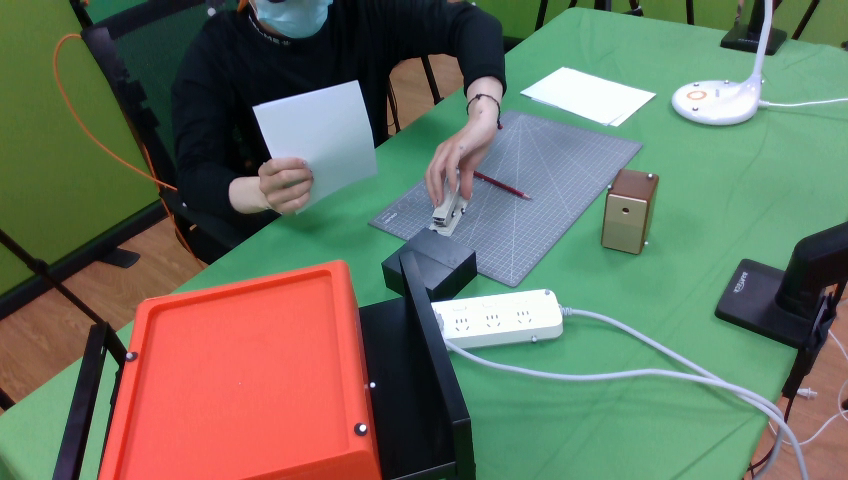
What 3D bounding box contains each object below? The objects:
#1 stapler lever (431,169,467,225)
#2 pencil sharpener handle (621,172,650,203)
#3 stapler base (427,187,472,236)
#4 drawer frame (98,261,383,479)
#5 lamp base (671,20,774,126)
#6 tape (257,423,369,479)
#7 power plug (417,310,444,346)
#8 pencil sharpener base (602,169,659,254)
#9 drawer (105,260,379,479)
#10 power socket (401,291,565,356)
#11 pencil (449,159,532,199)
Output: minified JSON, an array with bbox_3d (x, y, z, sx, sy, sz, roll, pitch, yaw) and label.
[{"bbox_3d":[0.043,-0.075,1.010,0.026,0.040,0.118,10,44,20],"label":"stapler lever"},{"bbox_3d":[0.328,-0.087,0.940,0.036,0.068,0.030,30,49,7],"label":"pencil sharpener handle"},{"bbox_3d":[0.045,-0.057,1.028,0.041,0.024,0.130,10,44,20],"label":"stapler base"},{"bbox_3d":[-0.148,0.129,0.520,0.202,0.083,0.212,-12,41,-6],"label":"drawer frame"},{"bbox_3d":[0.581,-0.332,1.154,0.179,0.181,0.160,2,41,7],"label":"lamp base"},{"bbox_3d":[-0.121,0.262,0.660,0.117,0.053,0.116,-4,40,4],"label":"tape"},{"bbox_3d":[0.006,0.122,0.785,0.035,0.053,0.072,-1,40,8],"label":"power plug"},{"bbox_3d":[0.312,-0.044,0.914,0.061,0.107,0.077,14,45,24],"label":"pencil sharpener base"},{"bbox_3d":[-0.150,0.127,0.525,0.195,0.073,0.210,-11,41,-5],"label":"drawer"},{"bbox_3d":[0.080,0.112,0.822,0.227,0.033,0.072,-6,41,0],"label":"power socket"},{"bbox_3d":[0.117,-0.110,1.091,0.192,0.012,0.012,30,53,34],"label":"pencil"}]
